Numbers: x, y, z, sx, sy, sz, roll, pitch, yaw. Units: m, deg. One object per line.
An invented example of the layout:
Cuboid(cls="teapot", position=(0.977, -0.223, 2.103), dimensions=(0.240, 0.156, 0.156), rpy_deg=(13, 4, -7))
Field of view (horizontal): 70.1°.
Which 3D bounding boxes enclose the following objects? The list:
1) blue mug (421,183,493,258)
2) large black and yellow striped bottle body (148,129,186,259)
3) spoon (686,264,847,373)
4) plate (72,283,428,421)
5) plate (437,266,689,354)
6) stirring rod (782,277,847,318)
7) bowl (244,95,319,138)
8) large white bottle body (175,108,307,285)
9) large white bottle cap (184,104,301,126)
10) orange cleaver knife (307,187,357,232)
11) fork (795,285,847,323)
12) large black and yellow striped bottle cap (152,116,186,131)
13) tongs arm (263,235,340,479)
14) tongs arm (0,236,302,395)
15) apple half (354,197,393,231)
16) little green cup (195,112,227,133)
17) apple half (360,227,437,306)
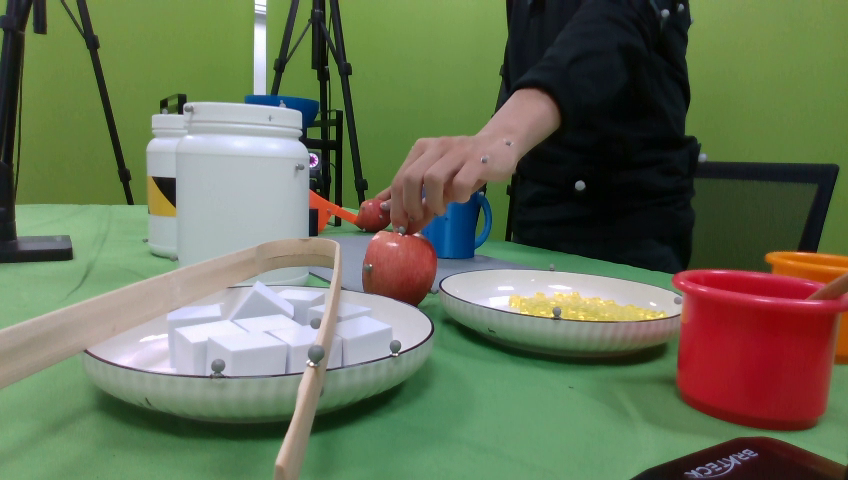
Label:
Cuboid(cls="blue mug", position=(0.052, -0.032, 0.912), dimensions=(0.117, 0.106, 0.082), rpy_deg=(-1, 8, -24))
Cuboid(cls="large black and yellow striped bottle body", position=(-0.310, -0.073, 0.838), dimensions=(0.131, 0.184, 0.130), rpy_deg=(2, 8, 0))
Cuboid(cls="spoon", position=(0.215, 0.032, 0.328), dimensions=(0.042, 0.021, 0.193), rpy_deg=(-3, -35, -26))
Cuboid(cls="plate", position=(-0.102, 0.066, 0.381), dimensions=(0.208, 0.039, 0.207), rpy_deg=(2, 7, 0))
Cuboid(cls="plate", position=(0.114, 0.057, 0.517), dimensions=(0.209, 0.038, 0.209), rpy_deg=(3, 7, 0))
Cuboid(cls="stirring rod", position=(0.344, 0.019, 0.460), dimensions=(0.014, 0.006, 0.176), rpy_deg=(-13, -27, -30))
Cuboid(cls="bowl", position=(-0.293, -0.251, 1.249), dimensions=(0.151, 0.077, 0.151), rpy_deg=(2, 7, 0))
Cuboid(cls="large white bottle body", position=(-0.188, -0.042, 0.630), dimensions=(0.131, 0.184, 0.130), rpy_deg=(2, 8, 0))
Cuboid(cls="large white bottle cap", position=(-0.184, -0.126, 0.618), dimensions=(0.115, 0.018, 0.115), rpy_deg=(2, 8, 0))
Cuboid(cls="orange cleaver knife", position=(-0.200, -0.057, 1.144), dimensions=(0.212, 0.077, 0.012), rpy_deg=(29, -9, -35))
Cuboid(cls="fork", position=(0.332, 0.018, 0.443), dimensions=(0.028, 0.018, 0.207), rpy_deg=(-1, -35, -16))
Cuboid(cls="large black and yellow striped bottle cap", position=(-0.309, -0.155, 0.826), dimensions=(0.115, 0.019, 0.115), rpy_deg=(3, 6, 0))
Cuboid(cls="tongs arm", position=(-0.074, 0.039, 0.349), dimensions=(0.051, 0.026, 0.384), rpy_deg=(-2, 10, -3))
Cuboid(cls="tongs arm", position=(-0.158, 0.038, 0.350), dimensions=(0.028, 0.028, 0.388), rpy_deg=(-3, 8, 11))
Cuboid(cls="apple half", position=(-0.094, -0.043, 1.175), dimensions=(0.081, 0.081, 0.032), rpy_deg=(0, 38, -19))
Cuboid(cls="little green cup", position=(-0.412, -0.227, 1.171), dimensions=(0.061, 0.038, 0.061), rpy_deg=(3, 8, 0))
Cuboid(cls="apple half", position=(-0.017, 0.028, 0.566), dimensions=(0.053, 0.074, 0.081), rpy_deg=(16, 6, 25))
